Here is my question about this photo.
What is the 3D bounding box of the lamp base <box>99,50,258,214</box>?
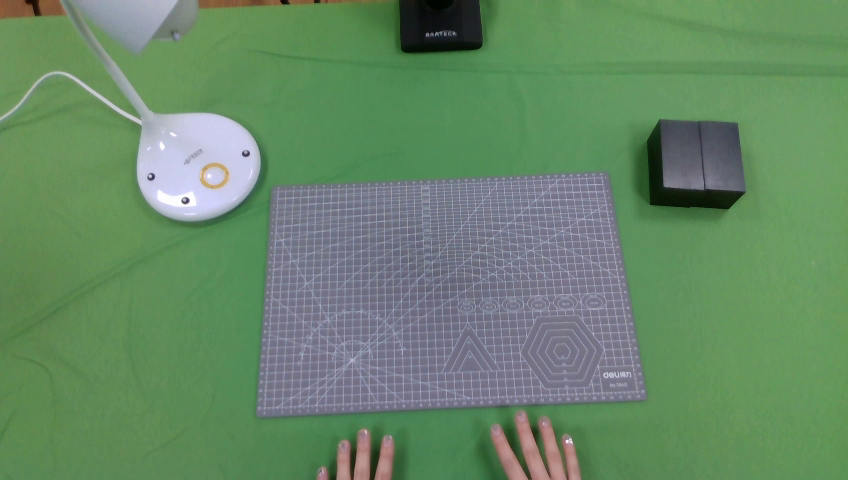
[{"bbox_3d":[-0.314,-0.141,0.738,0.178,0.181,0.160,30,72,15],"label":"lamp base"}]

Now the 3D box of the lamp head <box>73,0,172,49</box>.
[{"bbox_3d":[-0.250,-0.229,0.470,0.124,0.112,0.112,32,68,-28],"label":"lamp head"}]
